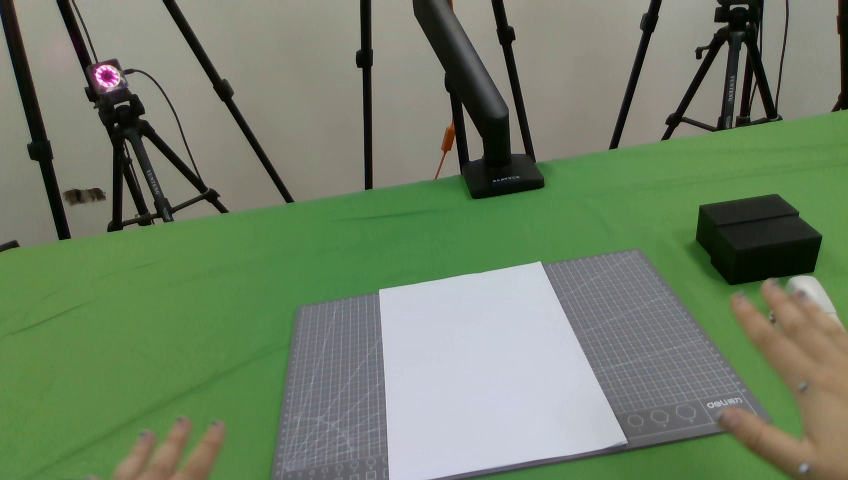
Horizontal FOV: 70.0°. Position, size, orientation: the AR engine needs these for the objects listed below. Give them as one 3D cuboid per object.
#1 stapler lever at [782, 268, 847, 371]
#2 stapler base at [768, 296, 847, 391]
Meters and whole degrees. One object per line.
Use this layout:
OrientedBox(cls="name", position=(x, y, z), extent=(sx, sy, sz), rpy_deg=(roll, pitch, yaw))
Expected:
OrientedBox(cls="stapler lever", position=(0.382, 0.072, 0.581), extent=(0.027, 0.040, 0.117), rpy_deg=(-7, 34, 7))
OrientedBox(cls="stapler base", position=(0.385, 0.092, 0.596), extent=(0.041, 0.024, 0.129), rpy_deg=(-7, 34, 7))
